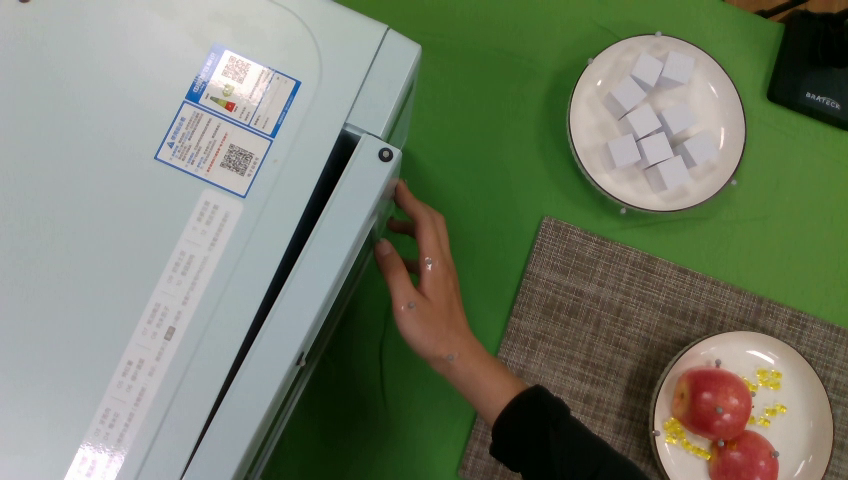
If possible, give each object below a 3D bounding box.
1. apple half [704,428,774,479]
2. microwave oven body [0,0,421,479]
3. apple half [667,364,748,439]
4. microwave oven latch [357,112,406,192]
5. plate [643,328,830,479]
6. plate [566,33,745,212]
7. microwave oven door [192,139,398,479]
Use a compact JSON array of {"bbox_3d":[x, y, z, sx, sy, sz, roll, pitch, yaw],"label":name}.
[{"bbox_3d":[0.348,0.245,0.659,0.081,0.033,0.081,1,81,-5],"label":"apple half"},{"bbox_3d":[-0.243,-0.001,0.525,0.326,0.260,0.441,24,83,-3],"label":"microwave oven body"},{"bbox_3d":[0.310,0.174,0.653,0.075,0.053,0.080,18,84,-1],"label":"apple half"},{"bbox_3d":[-0.045,-0.093,0.649,0.030,0.029,0.079,26,83,-2],"label":"microwave oven latch"},{"bbox_3d":[0.339,0.200,0.669,0.209,0.038,0.208,1,85,-5],"label":"plate"},{"bbox_3d":[0.262,-0.132,0.700,0.208,0.039,0.207,1,84,-5],"label":"plate"},{"bbox_3d":[-0.118,0.099,0.521,0.039,0.244,0.355,26,82,-1],"label":"microwave oven door"}]
